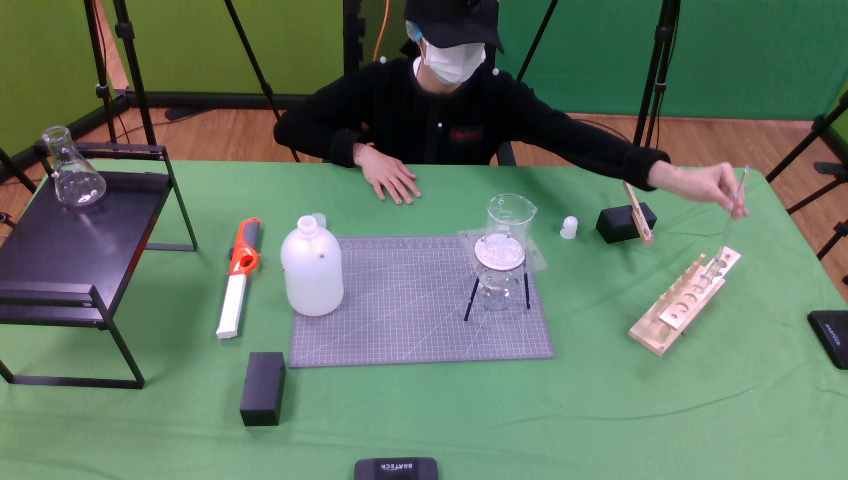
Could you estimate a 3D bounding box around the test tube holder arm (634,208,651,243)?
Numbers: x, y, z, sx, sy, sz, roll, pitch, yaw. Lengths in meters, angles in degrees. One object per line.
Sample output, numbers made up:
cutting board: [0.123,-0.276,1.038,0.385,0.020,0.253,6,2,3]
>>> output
test tube holder arm: [0.428,-0.029,1.189,0.010,0.015,0.087,1,47,-2]

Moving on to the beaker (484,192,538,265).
beaker: [0.137,-0.016,0.980,0.084,0.101,0.073,-6,45,-9]

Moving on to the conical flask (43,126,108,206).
conical flask: [-0.555,-0.119,0.953,0.075,0.122,0.075,2,46,-2]

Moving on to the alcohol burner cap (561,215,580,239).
alcohol burner cap: [0.299,-0.030,1.231,0.034,0.048,0.033,1,46,-1]

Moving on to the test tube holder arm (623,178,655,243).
test tube holder arm: [0.432,-0.062,1.220,0.013,0.015,0.177,0,47,-3]

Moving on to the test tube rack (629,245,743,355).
test tube rack: [0.474,0.095,1.091,0.242,0.085,0.066,-34,56,-31]

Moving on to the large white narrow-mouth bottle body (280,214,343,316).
large white narrow-mouth bottle body: [-0.190,0.035,1.025,0.102,0.195,0.101,2,46,-2]

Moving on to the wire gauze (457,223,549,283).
wire gauze: [0.131,0.016,1.017,0.121,0.011,0.124,-10,44,-15]

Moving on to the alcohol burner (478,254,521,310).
alcohol burner: [0.134,0.068,1.071,0.078,0.120,0.077,0,47,0]

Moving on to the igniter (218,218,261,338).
igniter: [-0.336,0.060,1.111,0.057,0.025,0.274,-7,46,4]

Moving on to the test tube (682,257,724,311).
test tube: [0.475,0.080,1.037,0.017,0.151,0.017,2,50,-2]

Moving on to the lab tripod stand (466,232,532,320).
lab tripod stand: [0.125,0.060,1.065,0.148,0.132,0.147,1,45,0]

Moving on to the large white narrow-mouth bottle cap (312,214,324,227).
large white narrow-mouth bottle cap: [-0.219,-0.033,1.214,0.038,0.024,0.037,2,46,-2]

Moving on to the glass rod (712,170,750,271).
glass rod: [0.500,-0.027,0.989,0.008,0.201,0.008,-1,38,1]
